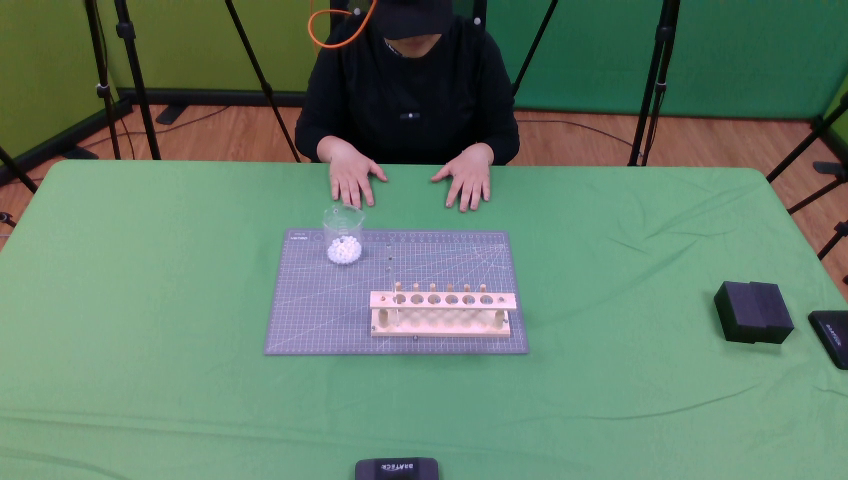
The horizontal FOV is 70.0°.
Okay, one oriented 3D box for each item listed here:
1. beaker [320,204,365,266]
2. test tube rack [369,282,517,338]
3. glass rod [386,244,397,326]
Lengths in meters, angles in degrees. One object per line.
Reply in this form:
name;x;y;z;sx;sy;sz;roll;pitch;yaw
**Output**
beaker;-0.151;-0.008;1.138;0.084;0.101;0.073;-12;48;-16
test tube rack;0.030;0.116;1.042;0.242;0.085;0.066;1;46;-3
glass rod;-0.052;0.078;0.980;0.008;0.201;0.008;-1;45;1
